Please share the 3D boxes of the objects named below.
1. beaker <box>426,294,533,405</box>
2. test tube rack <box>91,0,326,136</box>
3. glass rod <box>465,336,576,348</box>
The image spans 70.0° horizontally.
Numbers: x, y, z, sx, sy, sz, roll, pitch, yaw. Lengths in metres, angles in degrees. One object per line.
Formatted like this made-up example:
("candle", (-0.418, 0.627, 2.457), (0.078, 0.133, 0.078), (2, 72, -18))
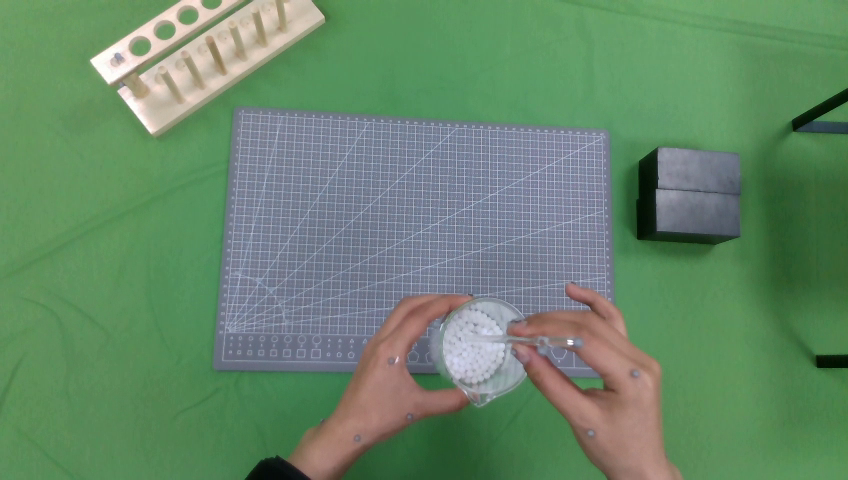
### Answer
("beaker", (0.040, 0.090, 0.501), (0.074, 0.100, 0.083), (9, 80, -4))
("test tube rack", (-0.228, -0.224, 0.673), (0.242, 0.085, 0.066), (-38, 85, -11))
("glass rod", (0.060, 0.072, 0.430), (0.008, 0.199, 0.008), (2, 80, -13))
